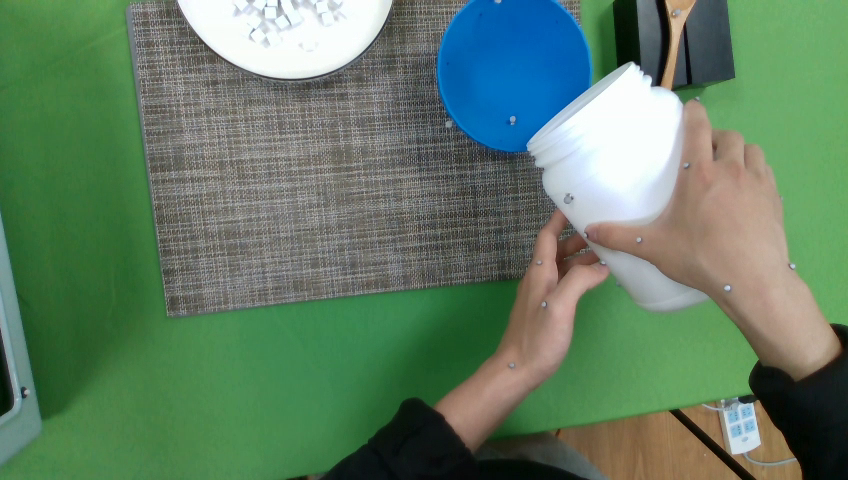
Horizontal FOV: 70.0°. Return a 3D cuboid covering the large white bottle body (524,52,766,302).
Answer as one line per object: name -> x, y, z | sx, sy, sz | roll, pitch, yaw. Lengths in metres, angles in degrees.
large white bottle body -> 0.184, -0.053, 0.521 | 0.130, 0.130, 0.185 | -41, 98, -4

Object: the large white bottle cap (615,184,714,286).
large white bottle cap -> 0.271, -0.006, 0.680 | 0.115, 0.018, 0.115 | -1, 96, -11

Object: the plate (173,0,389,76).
plate -> -0.134, -0.257, 0.574 | 0.209, 0.038, 0.209 | 0, 92, -10

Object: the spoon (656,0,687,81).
spoon -> 0.244, -0.196, 0.611 | 0.042, 0.021, 0.194 | 6, 99, -13

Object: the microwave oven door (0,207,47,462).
microwave oven door -> -0.378, 0.012, 0.437 | 0.039, 0.243, 0.356 | -9, 96, -9

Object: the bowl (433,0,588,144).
bowl -> 0.076, -0.168, 0.597 | 0.152, 0.076, 0.151 | -1, 95, -9
